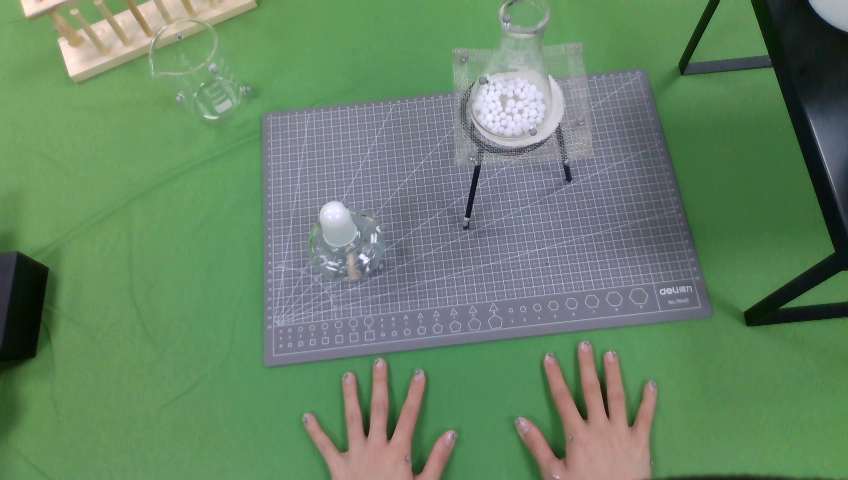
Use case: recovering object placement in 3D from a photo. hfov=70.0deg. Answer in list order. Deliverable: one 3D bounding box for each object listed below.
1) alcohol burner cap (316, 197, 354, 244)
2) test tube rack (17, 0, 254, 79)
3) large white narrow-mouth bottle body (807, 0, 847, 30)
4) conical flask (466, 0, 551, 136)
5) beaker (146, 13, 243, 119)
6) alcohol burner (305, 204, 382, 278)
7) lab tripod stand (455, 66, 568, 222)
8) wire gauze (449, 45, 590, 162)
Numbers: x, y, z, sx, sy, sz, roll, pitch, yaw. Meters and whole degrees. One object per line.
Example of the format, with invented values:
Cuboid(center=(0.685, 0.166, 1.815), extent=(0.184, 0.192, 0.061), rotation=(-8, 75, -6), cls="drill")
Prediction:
Cuboid(center=(-0.084, -0.021, 0.558), extent=(0.034, 0.048, 0.033), rotation=(0, 63, 1), cls="alcohol burner cap")
Cuboid(center=(-0.341, -0.291, 0.730), extent=(0.242, 0.086, 0.066), rotation=(-26, 70, -7), cls="test tube rack")
Cuboid(center=(0.363, -0.247, 0.425), extent=(0.102, 0.196, 0.101), rotation=(-1, 67, 3), cls="large white narrow-mouth bottle body")
Cuboid(center=(0.072, -0.144, 0.490), extent=(0.075, 0.123, 0.075), rotation=(-1, 69, 3), cls="conical flask")
Cuboid(center=(-0.254, -0.188, 0.680), extent=(0.073, 0.101, 0.084), rotation=(39, 76, 16), cls="beaker")
Cuboid(center=(-0.081, -0.006, 0.592), extent=(0.078, 0.120, 0.077), rotation=(0, 68, 1), cls="alcohol burner")
Cuboid(center=(0.081, -0.099, 0.607), extent=(0.148, 0.132, 0.147), rotation=(-1, 68, 2), cls="lab tripod stand")
Cuboid(center=(0.084, -0.127, 0.546), extent=(0.121, 0.011, 0.124), rotation=(-1, 67, 0), cls="wire gauze")
